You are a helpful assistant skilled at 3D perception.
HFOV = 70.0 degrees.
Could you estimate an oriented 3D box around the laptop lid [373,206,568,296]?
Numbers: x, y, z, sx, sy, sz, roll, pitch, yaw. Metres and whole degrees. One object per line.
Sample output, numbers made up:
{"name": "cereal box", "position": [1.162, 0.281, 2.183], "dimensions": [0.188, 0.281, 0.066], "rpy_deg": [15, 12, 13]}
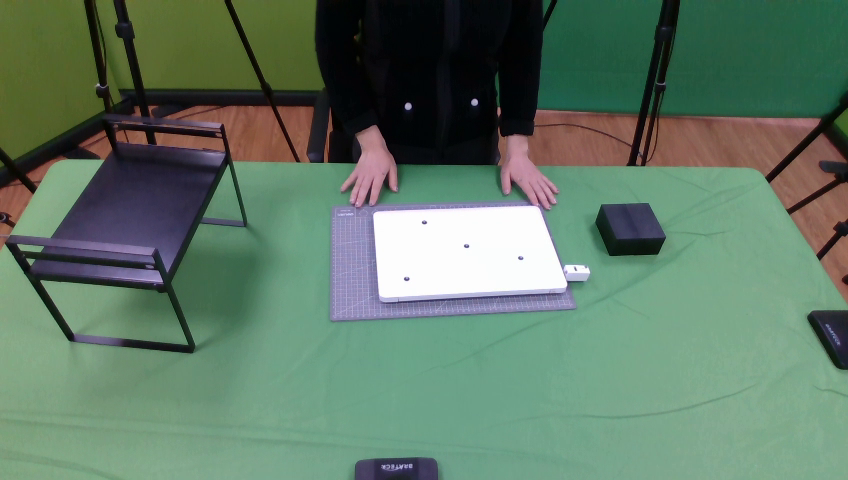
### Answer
{"name": "laptop lid", "position": [0.081, 0.014, 1.174], "dimensions": [0.357, 0.013, 0.240], "rpy_deg": [-1, 44, -5]}

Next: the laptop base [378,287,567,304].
{"name": "laptop base", "position": [0.081, 0.024, 1.181], "dimensions": [0.355, 0.023, 0.234], "rpy_deg": [-3, 43, -6]}

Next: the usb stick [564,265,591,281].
{"name": "usb stick", "position": [0.282, 0.062, 1.143], "dimensions": [0.059, 0.027, 0.021], "rpy_deg": [-1, 45, -6]}
